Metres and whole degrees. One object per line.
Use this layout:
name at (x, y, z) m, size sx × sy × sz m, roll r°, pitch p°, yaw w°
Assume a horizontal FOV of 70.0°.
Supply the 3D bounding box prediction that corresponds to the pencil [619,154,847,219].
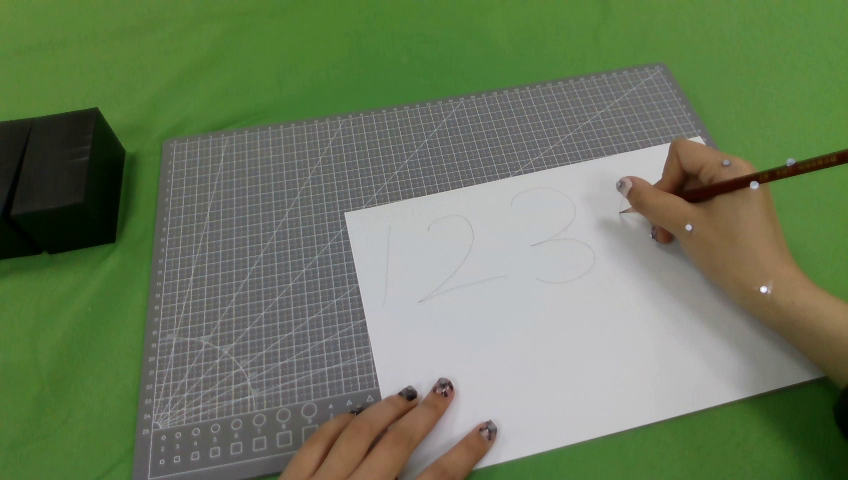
pencil at (0.193, -0.032, 0.374) m, size 0.012 × 0.193 × 0.012 m, roll 5°, pitch 79°, yaw -28°
